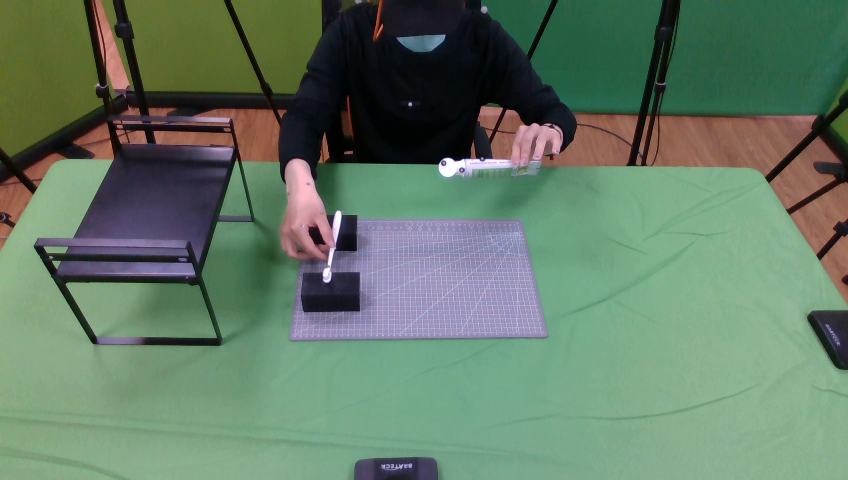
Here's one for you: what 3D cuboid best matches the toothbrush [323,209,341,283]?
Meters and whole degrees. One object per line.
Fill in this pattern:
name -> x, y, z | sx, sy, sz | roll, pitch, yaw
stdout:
toothbrush -> -0.167, 0.005, 1.106 | 0.014, 0.017, 0.180 | -6, 44, 8

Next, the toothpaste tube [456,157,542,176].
toothpaste tube -> 0.134, -0.138, 1.129 | 0.165, 0.055, 0.034 | 0, 74, -2

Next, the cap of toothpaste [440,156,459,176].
cap of toothpaste -> 0.046, -0.136, 1.108 | 0.037, 0.037, 0.011 | -11, 9, -14
